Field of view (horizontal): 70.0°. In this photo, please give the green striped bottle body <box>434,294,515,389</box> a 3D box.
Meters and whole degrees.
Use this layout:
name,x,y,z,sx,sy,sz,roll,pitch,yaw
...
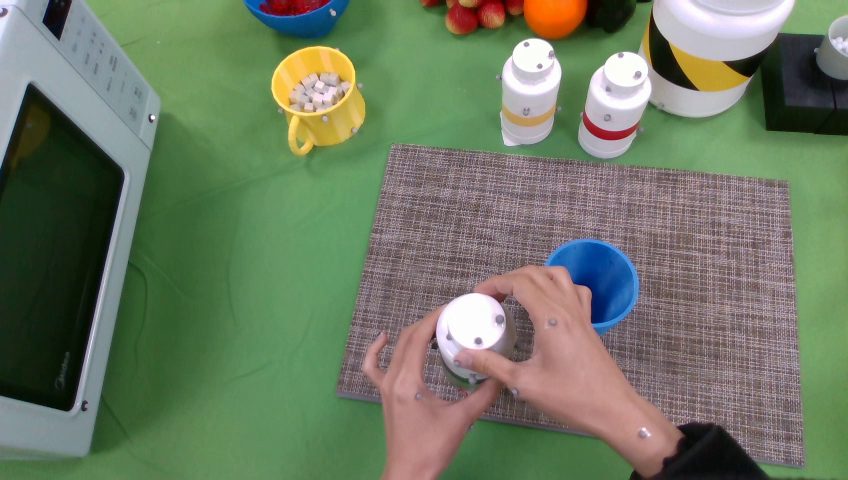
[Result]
name,x,y,z,sx,sy,sz,roll,pitch,yaw
green striped bottle body,0.041,0.082,0.499,0.063,0.120,0.062,-1,66,3

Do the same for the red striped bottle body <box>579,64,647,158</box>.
name,x,y,z,sx,sy,sz,roll,pitch,yaw
red striped bottle body,0.204,-0.147,0.659,0.063,0.121,0.062,-4,63,8

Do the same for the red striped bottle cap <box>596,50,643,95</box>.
name,x,y,z,sx,sy,sz,roll,pitch,yaw
red striped bottle cap,0.198,-0.169,0.611,0.044,0.018,0.044,0,66,1

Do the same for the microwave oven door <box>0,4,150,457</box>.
name,x,y,z,sx,sy,sz,roll,pitch,yaw
microwave oven door,-0.360,0.005,0.562,0.039,0.246,0.353,-2,67,5

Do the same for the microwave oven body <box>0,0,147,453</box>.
name,x,y,z,sx,sy,sz,roll,pitch,yaw
microwave oven body,-0.505,-0.027,0.594,0.326,0.262,0.438,-2,67,4

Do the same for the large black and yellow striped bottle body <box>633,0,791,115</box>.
name,x,y,z,sx,sy,sz,roll,pitch,yaw
large black and yellow striped bottle body,0.306,-0.238,0.653,0.130,0.185,0.130,-2,66,5

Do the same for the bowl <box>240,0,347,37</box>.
name,x,y,z,sx,sy,sz,roll,pitch,yaw
bowl,-0.162,-0.321,0.791,0.151,0.077,0.150,-2,67,4

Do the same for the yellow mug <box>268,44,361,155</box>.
name,x,y,z,sx,sy,sz,roll,pitch,yaw
yellow mug,-0.136,-0.162,0.727,0.099,0.064,0.130,16,70,11

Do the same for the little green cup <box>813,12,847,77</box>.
name,x,y,z,sx,sy,sz,roll,pitch,yaw
little green cup,0.454,-0.208,0.650,0.061,0.039,0.061,-1,66,3

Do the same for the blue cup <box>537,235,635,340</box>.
name,x,y,z,sx,sy,sz,roll,pitch,yaw
blue cup,0.148,0.055,0.583,0.092,0.101,0.092,-1,66,3

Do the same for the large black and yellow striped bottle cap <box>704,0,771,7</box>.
name,x,y,z,sx,sy,sz,roll,pitch,yaw
large black and yellow striped bottle cap,0.297,-0.271,0.576,0.115,0.019,0.114,-2,65,5

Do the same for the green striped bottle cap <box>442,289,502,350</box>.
name,x,y,z,sx,sy,sz,roll,pitch,yaw
green striped bottle cap,0.036,0.059,0.450,0.044,0.020,0.044,-1,72,2

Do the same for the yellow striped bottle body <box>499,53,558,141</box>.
name,x,y,z,sx,sy,sz,roll,pitch,yaw
yellow striped bottle body,0.115,-0.168,0.676,0.063,0.121,0.062,-2,66,6

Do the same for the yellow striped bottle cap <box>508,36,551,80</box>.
name,x,y,z,sx,sy,sz,roll,pitch,yaw
yellow striped bottle cap,0.110,-0.189,0.629,0.044,0.019,0.044,-2,68,4

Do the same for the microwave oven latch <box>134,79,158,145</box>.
name,x,y,z,sx,sy,sz,roll,pitch,yaw
microwave oven latch,-0.348,-0.156,0.740,0.030,0.030,0.078,0,68,5
